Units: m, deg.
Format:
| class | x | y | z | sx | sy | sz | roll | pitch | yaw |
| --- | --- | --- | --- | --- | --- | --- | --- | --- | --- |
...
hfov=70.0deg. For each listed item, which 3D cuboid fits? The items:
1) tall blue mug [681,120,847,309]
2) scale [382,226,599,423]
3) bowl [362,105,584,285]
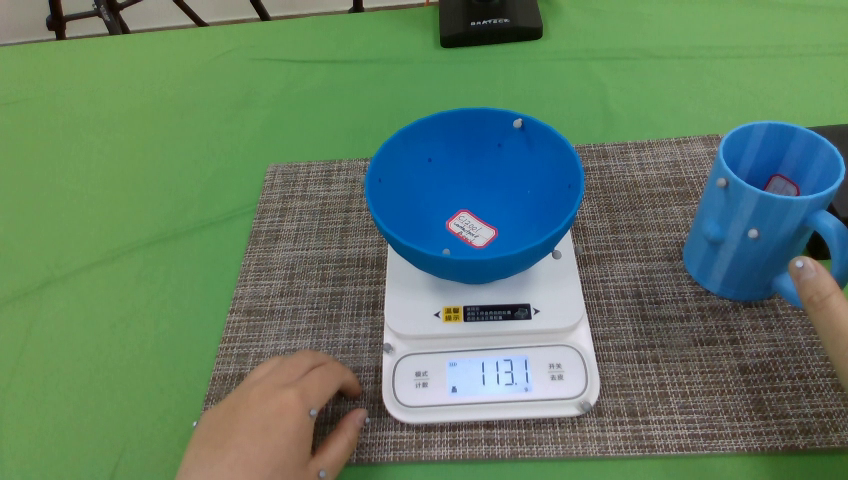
| class | x | y | z | sx | sy | sz | roll | pitch | yaw |
| --- | --- | --- | --- | --- | --- | --- | --- | --- | --- |
| tall blue mug | 0.247 | -0.012 | 0.426 | 0.106 | 0.109 | 0.077 | 29 | 58 | 28 |
| scale | 0.044 | 0.037 | 0.460 | 0.148 | 0.032 | 0.199 | -4 | 50 | 4 |
| bowl | 0.036 | -0.020 | 0.440 | 0.151 | 0.077 | 0.150 | -3 | 50 | 4 |
